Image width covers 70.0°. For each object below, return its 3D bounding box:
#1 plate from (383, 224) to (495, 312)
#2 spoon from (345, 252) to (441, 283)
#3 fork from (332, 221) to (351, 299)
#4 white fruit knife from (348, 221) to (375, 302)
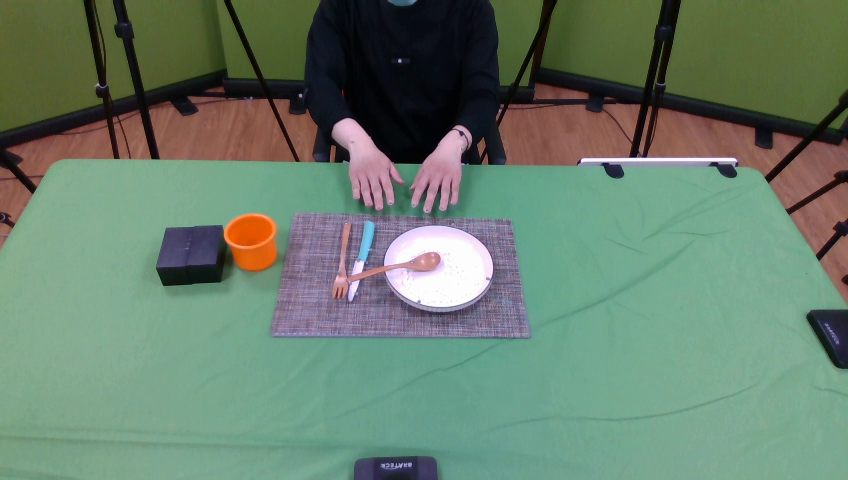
[{"bbox_3d":[0.026,0.055,1.128,0.209,0.038,0.208,2,46,-2],"label":"plate"},{"bbox_3d":[-0.054,0.051,1.106,0.194,0.022,0.041,-10,48,-30],"label":"spoon"},{"bbox_3d":[-0.153,0.034,1.149,0.028,0.019,0.206,-6,47,6],"label":"fork"},{"bbox_3d":[-0.119,0.037,1.153,0.027,0.016,0.206,-15,42,25],"label":"white fruit knife"}]
